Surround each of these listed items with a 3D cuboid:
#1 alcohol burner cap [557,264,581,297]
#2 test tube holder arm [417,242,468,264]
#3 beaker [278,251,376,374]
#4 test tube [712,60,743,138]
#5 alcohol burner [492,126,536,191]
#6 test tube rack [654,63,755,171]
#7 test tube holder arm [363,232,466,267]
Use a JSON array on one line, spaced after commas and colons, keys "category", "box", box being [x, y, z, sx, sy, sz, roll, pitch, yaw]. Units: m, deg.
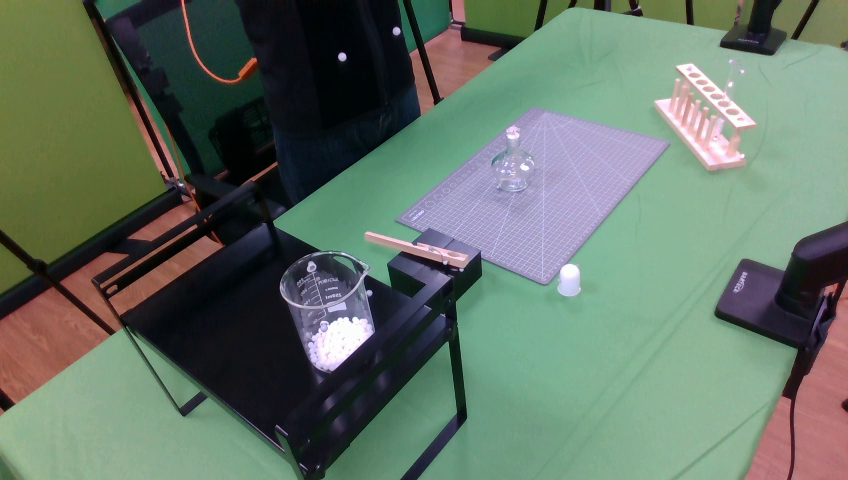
[{"category": "alcohol burner cap", "box": [0.208, 0.055, 0.866, 0.034, 0.048, 0.033, -4, 41, 4]}, {"category": "test tube holder arm", "box": [0.024, 0.019, 0.874, 0.087, 0.015, 0.010, 14, 28, 29]}, {"category": "beaker", "box": [-0.084, 0.070, 0.570, 0.084, 0.101, 0.073, -18, 42, -13]}, {"category": "test tube", "box": [0.527, -0.242, 1.052, 0.017, 0.151, 0.017, -3, 44, 3]}, {"category": "alcohol burner", "box": [0.156, -0.146, 1.046, 0.078, 0.119, 0.077, -4, 43, 4]}, {"category": "test tube rack", "box": [0.510, -0.233, 1.120, 0.067, 0.085, 0.241, -8, 41, -1]}, {"category": "test tube holder arm", "box": [-0.018, 0.012, 0.891, 0.177, 0.015, 0.013, 13, 28, 28]}]
